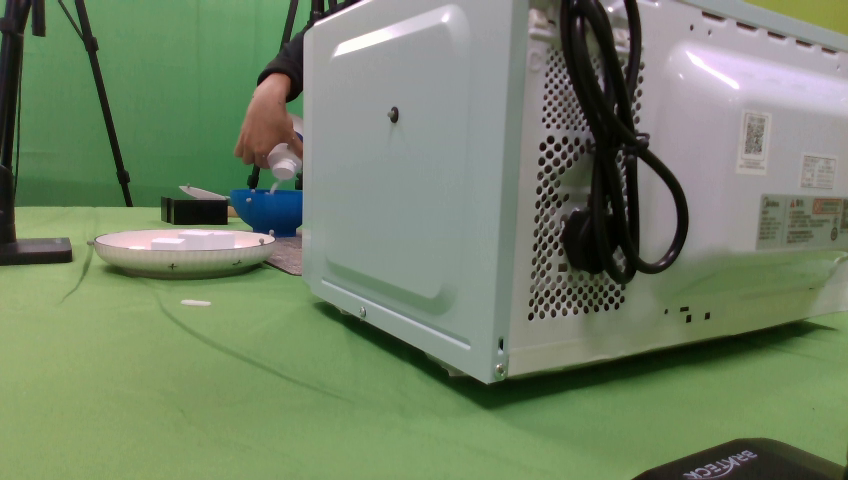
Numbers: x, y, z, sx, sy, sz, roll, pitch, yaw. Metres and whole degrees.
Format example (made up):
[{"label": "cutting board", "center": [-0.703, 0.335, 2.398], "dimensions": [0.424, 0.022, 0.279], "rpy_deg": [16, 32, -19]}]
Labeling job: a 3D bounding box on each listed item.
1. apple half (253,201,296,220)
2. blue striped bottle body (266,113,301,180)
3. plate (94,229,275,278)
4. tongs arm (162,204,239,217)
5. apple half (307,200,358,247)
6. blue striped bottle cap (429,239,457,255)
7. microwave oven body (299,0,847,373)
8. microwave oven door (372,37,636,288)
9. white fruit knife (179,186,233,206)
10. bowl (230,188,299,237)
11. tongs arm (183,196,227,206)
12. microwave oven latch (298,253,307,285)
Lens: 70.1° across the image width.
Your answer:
[{"label": "apple half", "center": [-0.264, -0.053, 1.067], "dimensions": [0.081, 0.033, 0.081], "rpy_deg": [2, 8, 0]}, {"label": "blue striped bottle body", "center": [-0.257, -0.171, 1.124], "dimensions": [0.063, 0.120, 0.063], "rpy_deg": [-1, -30, 0]}, {"label": "plate", "center": [-0.291, 0.016, 0.749], "dimensions": [0.208, 0.039, 0.207], "rpy_deg": [2, 7, 0]}, {"label": "tongs arm", "center": [-0.396, -0.066, 1.399], "dimensions": [0.389, 0.028, 0.028], "rpy_deg": [1, 6, -15]}, {"label": "apple half", "center": [-0.135, -0.024, 0.941], "dimensions": [0.053, 0.074, 0.081], "rpy_deg": [13, 9, 39]}, {"label": "blue striped bottle cap", "center": [0.029, 0.011, 0.945], "dimensions": [0.044, 0.020, 0.044], "rpy_deg": [0, 7, 0]}, {"label": "microwave oven body", "center": [0.151, -0.055, 0.542], "dimensions": [0.444, 0.260, 0.324], "rpy_deg": [-2, 7, -33]}, {"label": "microwave oven door", "center": [0.110, -0.080, 0.686], "dimensions": [0.358, 0.243, 0.039], "rpy_deg": [-2, 9, -33]}, {"label": "white fruit knife", "center": [-0.413, -0.081, 1.270], "dimensions": [0.208, 0.027, 0.016], "rpy_deg": [17, 13, -41]}, {"label": "bowl", "center": [-0.264, -0.048, 1.065], "dimensions": [0.151, 0.077, 0.151], "rpy_deg": [3, 8, 0]}, {"label": "tongs arm", "center": [-0.404, -0.081, 1.479], "dimensions": [0.385, 0.026, 0.050], "rpy_deg": [3, 9, -2]}, {"label": "microwave oven latch", "center": [-0.081, 0.027, 0.582], "dimensions": [0.079, 0.029, 0.030], "rpy_deg": [-2, 7, -33]}]
